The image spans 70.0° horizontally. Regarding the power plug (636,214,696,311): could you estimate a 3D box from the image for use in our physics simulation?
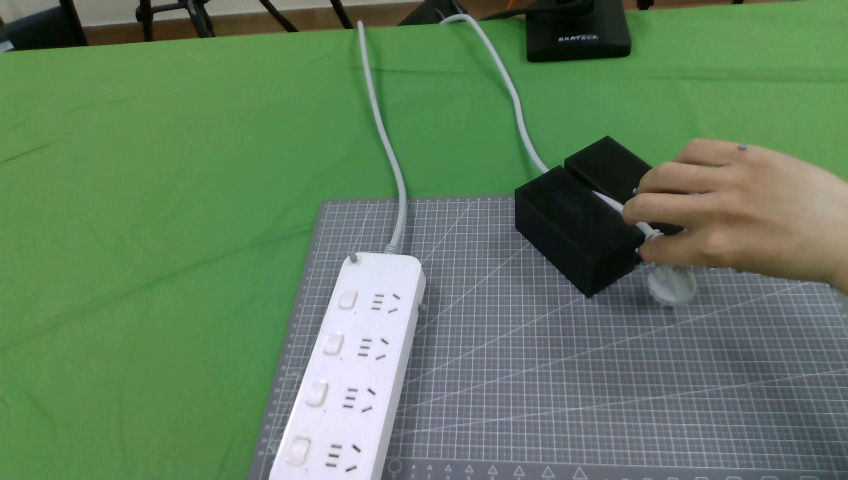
[{"bbox_3d":[0.190,0.020,0.480,0.035,0.053,0.072,-5,55,3],"label":"power plug"}]

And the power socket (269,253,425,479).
[{"bbox_3d":[-0.052,0.100,0.467,0.072,0.033,0.225,5,51,11],"label":"power socket"}]
